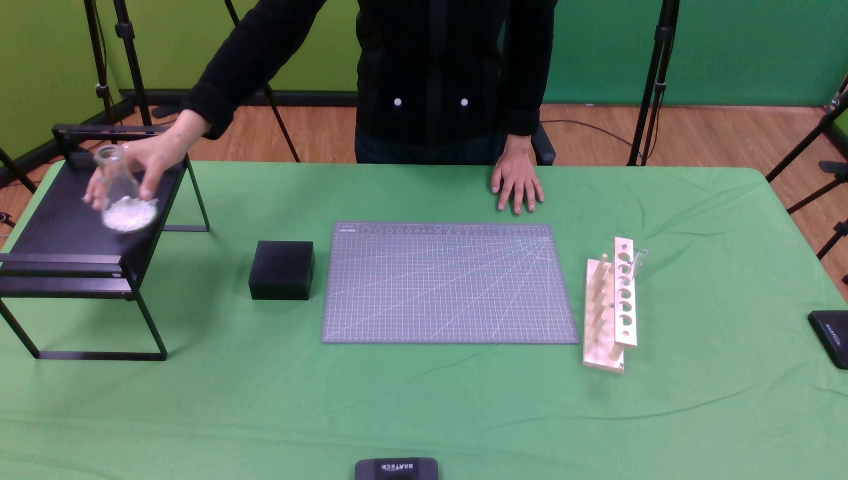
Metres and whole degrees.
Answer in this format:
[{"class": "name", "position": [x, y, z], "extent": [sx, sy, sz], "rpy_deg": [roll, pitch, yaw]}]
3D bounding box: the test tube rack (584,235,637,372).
[{"class": "test tube rack", "position": [0.329, 0.103, 1.073], "extent": [0.067, 0.085, 0.241], "rpy_deg": [11, 47, 7]}]

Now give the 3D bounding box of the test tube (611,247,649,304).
[{"class": "test tube", "position": [0.352, 0.065, 1.043], "extent": [0.017, 0.151, 0.017], "rpy_deg": [4, 49, -4]}]

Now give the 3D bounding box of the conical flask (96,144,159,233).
[{"class": "conical flask", "position": [-0.425, -0.076, 0.854], "extent": [0.075, 0.122, 0.075], "rpy_deg": [3, 44, -3]}]
